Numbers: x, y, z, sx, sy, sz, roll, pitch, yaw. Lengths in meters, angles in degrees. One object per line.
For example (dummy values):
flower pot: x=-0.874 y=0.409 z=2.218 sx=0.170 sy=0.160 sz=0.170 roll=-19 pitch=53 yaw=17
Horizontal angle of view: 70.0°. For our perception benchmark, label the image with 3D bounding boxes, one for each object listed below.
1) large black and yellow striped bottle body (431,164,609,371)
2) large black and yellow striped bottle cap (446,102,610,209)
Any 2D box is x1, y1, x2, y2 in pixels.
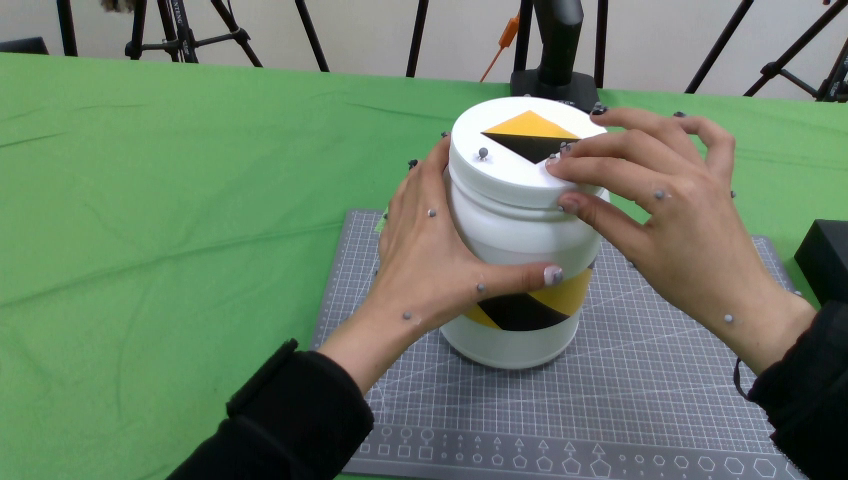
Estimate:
large black and yellow striped bottle body: x=0.073 y=0.002 z=0.489 sx=0.131 sy=0.185 sz=0.129 roll=1 pitch=42 yaw=-1
large black and yellow striped bottle cap: x=0.073 y=-0.063 z=0.429 sx=0.115 sy=0.019 sz=0.114 roll=3 pitch=41 yaw=-2
